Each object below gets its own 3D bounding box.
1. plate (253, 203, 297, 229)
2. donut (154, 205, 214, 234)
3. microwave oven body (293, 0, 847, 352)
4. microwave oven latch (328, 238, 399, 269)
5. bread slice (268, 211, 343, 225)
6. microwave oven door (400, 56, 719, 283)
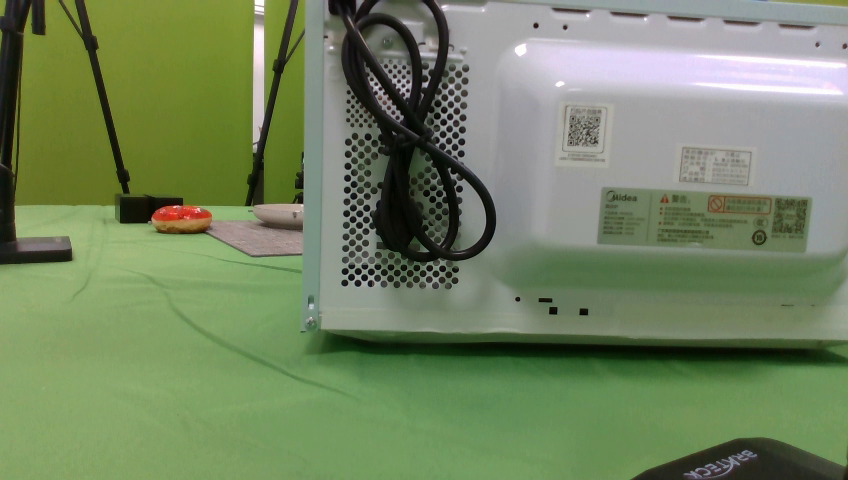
[{"bbox_3d":[-0.238,-0.047,1.226,0.208,0.039,0.207,3,7,0],"label":"plate"},{"bbox_3d":[-0.426,-0.037,1.074,0.099,0.048,0.099,2,12,0],"label":"donut"},{"bbox_3d":[0.122,-0.055,0.549,0.442,0.260,0.325,3,7,-4],"label":"microwave oven body"},{"bbox_3d":[-0.069,0.015,0.693,0.079,0.029,0.030,3,6,-2],"label":"microwave oven latch"},{"bbox_3d":[-0.244,-0.046,1.220,0.104,0.019,0.132,7,8,36],"label":"bread slice"},{"bbox_3d":[0.155,-0.078,0.699,0.356,0.243,0.039,2,8,-4],"label":"microwave oven door"}]
